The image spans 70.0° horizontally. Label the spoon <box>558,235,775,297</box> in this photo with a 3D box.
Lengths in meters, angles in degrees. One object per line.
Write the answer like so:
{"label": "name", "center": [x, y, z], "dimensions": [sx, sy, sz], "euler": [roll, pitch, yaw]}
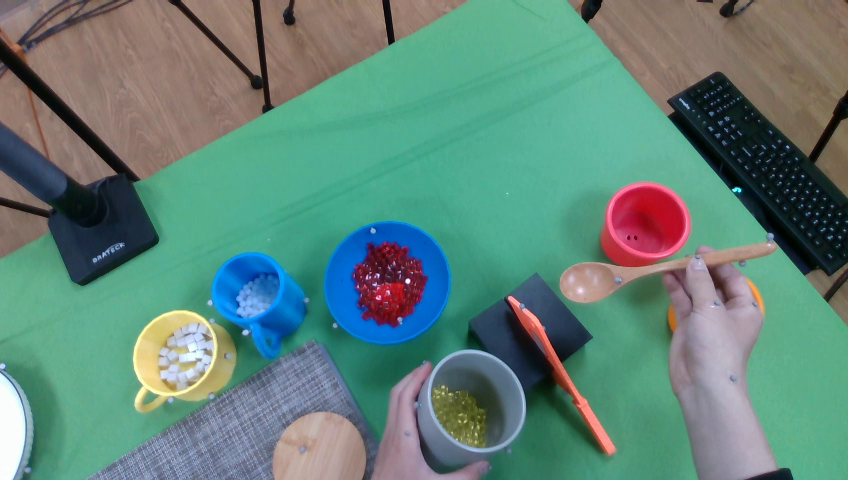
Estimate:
{"label": "spoon", "center": [0.221, 0.021, 0.570], "dimensions": [0.193, 0.022, 0.041], "euler": [-14, 72, 30]}

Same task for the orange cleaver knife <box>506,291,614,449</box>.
{"label": "orange cleaver knife", "center": [0.155, 0.148, 0.695], "dimensions": [0.012, 0.077, 0.212], "euler": [-34, 102, -7]}

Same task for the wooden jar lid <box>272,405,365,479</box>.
{"label": "wooden jar lid", "center": [-0.121, 0.248, 0.705], "dimensions": [0.108, 0.021, 0.107], "euler": [-1, 73, 3]}

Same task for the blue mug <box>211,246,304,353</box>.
{"label": "blue mug", "center": [-0.194, 0.078, 0.725], "dimensions": [0.082, 0.106, 0.115], "euler": [-12, 71, -1]}

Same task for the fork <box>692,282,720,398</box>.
{"label": "fork", "center": [0.313, 0.103, 0.667], "dimensions": [0.028, 0.019, 0.206], "euler": [28, 31, 7]}

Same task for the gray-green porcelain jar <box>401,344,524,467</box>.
{"label": "gray-green porcelain jar", "center": [0.035, 0.185, 0.658], "dimensions": [0.106, 0.127, 0.105], "euler": [9, 57, -14]}

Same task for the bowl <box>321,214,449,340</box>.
{"label": "bowl", "center": [-0.043, 0.053, 0.740], "dimensions": [0.151, 0.077, 0.150], "euler": [-1, 72, 3]}

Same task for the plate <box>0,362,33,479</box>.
{"label": "plate", "center": [-0.568, 0.239, 0.726], "dimensions": [0.207, 0.039, 0.206], "euler": [-1, 72, 2]}

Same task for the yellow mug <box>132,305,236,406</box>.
{"label": "yellow mug", "center": [-0.296, 0.146, 0.728], "dimensions": [0.099, 0.064, 0.130], "euler": [34, 78, 14]}
